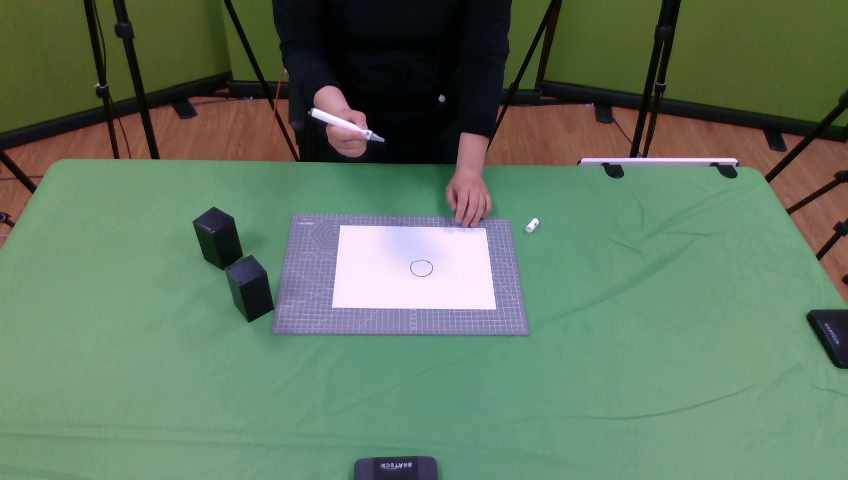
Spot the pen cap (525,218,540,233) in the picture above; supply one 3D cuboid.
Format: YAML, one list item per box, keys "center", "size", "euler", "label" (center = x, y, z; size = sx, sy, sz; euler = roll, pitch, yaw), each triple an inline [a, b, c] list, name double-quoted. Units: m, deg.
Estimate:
- center: [0.224, -0.031, 1.248]
  size: [0.017, 0.017, 0.038]
  euler: [30, 52, 23]
  label: "pen cap"

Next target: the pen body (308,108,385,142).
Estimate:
- center: [-0.136, -0.201, 1.076]
  size: [0.144, 0.017, 0.017]
  euler: [22, 47, 0]
  label: "pen body"
